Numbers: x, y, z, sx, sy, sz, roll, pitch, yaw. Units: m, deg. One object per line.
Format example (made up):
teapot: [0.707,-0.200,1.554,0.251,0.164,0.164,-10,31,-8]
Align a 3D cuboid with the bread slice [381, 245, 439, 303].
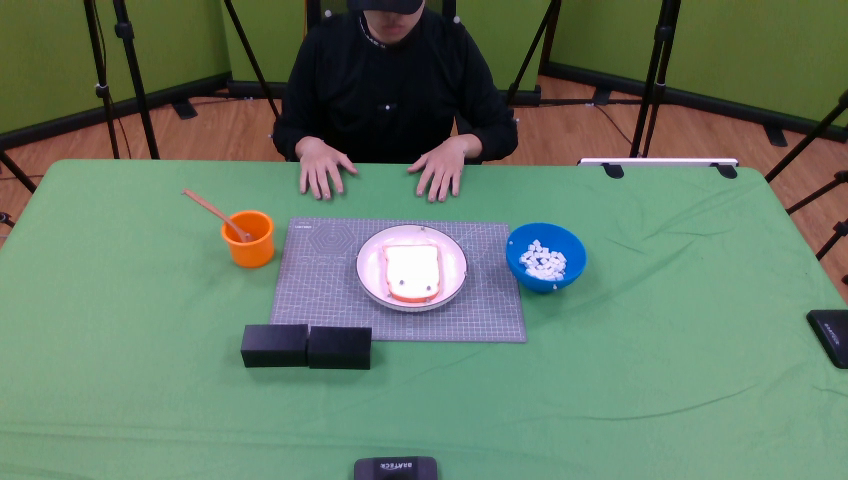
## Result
bread slice: [-0.022,0.061,1.126,0.107,0.018,0.133,-3,45,-8]

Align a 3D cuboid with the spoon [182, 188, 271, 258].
spoon: [-0.361,-0.032,1.113,0.021,0.194,0.041,-26,30,35]

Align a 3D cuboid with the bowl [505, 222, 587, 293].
bowl: [0.221,0.045,1.132,0.151,0.077,0.150,2,46,-2]

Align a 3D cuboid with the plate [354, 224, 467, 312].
plate: [-0.025,0.055,1.128,0.209,0.038,0.208,3,46,-2]
